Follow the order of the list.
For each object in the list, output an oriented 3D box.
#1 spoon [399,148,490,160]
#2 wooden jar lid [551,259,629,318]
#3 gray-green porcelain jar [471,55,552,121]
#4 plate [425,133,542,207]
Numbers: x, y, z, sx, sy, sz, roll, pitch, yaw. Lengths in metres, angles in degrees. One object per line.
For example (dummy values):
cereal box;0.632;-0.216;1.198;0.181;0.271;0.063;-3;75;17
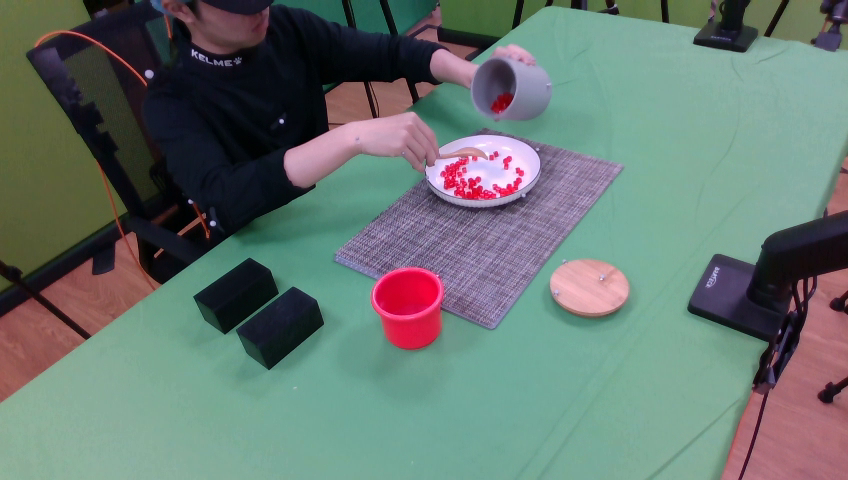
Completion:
spoon;0.038;-0.142;1.014;0.195;0.021;0.041;-9;21;-40
wooden jar lid;0.234;0.070;0.857;0.108;0.021;0.108;-5;40;5
gray-green porcelain jar;0.164;-0.274;1.102;0.105;0.106;0.127;31;24;36
plate;0.106;-0.122;1.079;0.207;0.039;0.206;-4;41;4
